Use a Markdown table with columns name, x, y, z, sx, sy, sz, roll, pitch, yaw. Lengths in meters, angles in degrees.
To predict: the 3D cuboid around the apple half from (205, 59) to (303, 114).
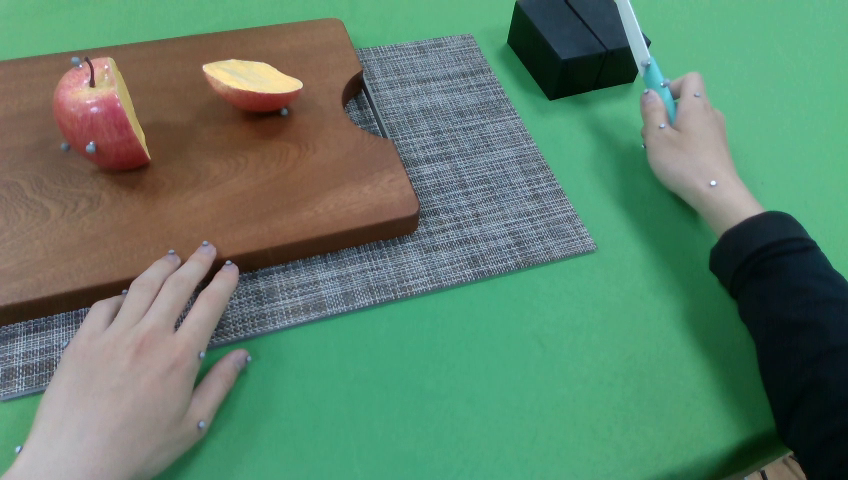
| name | x | y | z | sx | sy | sz | roll | pitch | yaw |
| --- | --- | --- | --- | --- | --- | --- | --- | --- | --- |
| apple half | -0.148 | -0.126 | 0.518 | 0.081 | 0.033 | 0.080 | 13 | 32 | -8 |

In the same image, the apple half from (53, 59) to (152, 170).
| name | x | y | z | sx | sy | sz | roll | pitch | yaw |
| --- | --- | --- | --- | --- | --- | --- | --- | --- | --- |
| apple half | -0.249 | -0.091 | 0.463 | 0.053 | 0.075 | 0.080 | -21 | 63 | -15 |

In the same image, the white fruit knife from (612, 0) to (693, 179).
| name | x | y | z | sx | sy | sz | roll | pitch | yaw |
| --- | --- | --- | --- | --- | --- | --- | --- | --- | --- |
| white fruit knife | 0.203 | -0.156 | 0.556 | 0.016 | 0.027 | 0.206 | -17 | 83 | -13 |
